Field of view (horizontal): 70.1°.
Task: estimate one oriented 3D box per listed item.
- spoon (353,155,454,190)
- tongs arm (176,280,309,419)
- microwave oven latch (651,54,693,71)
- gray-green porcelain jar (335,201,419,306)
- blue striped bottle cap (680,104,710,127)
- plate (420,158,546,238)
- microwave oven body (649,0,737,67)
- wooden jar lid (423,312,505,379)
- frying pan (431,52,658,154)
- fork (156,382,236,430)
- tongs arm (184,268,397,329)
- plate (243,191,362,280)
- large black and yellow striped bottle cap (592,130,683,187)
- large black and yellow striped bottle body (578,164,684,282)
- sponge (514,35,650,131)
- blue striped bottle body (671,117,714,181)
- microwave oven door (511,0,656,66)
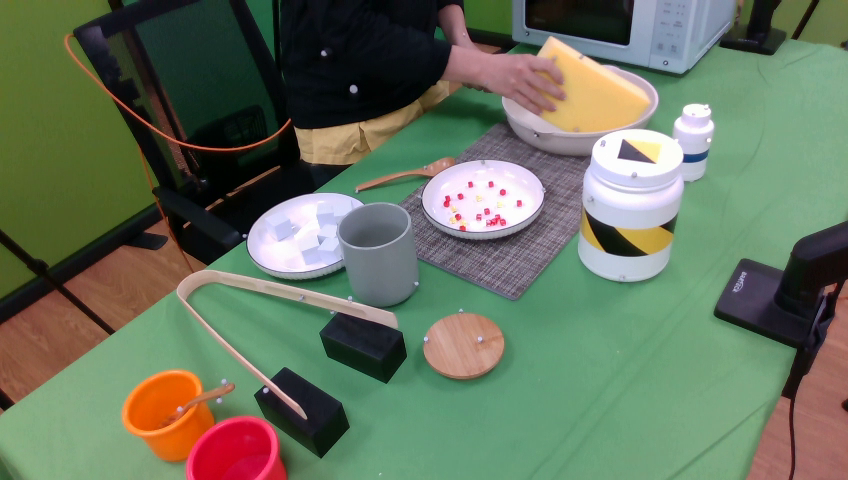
[{"bbox_3d":[-0.038,-0.123,1.116,0.194,0.022,0.041,-12,58,-4],"label":"spoon"},{"bbox_3d":[-0.254,0.133,0.801,0.028,0.028,0.384,-41,41,-23],"label":"tongs arm"},{"bbox_3d":[0.531,-0.386,1.301,0.078,0.029,0.030,26,51,33],"label":"microwave oven latch"},{"bbox_3d":[-0.064,0.024,0.872,0.106,0.127,0.105,-4,41,4],"label":"gray-green porcelain jar"},{"bbox_3d":[0.443,-0.205,0.989,0.044,0.021,0.044,-1,41,2],"label":"blue striped bottle cap"},{"bbox_3d":[0.099,-0.067,1.017,0.209,0.038,0.208,-4,40,4],"label":"plate"},{"bbox_3d":[0.475,-0.602,1.411,0.438,0.261,0.327,23,50,32],"label":"microwave oven body"},{"bbox_3d":[0.053,0.142,0.800,0.108,0.021,0.108,-5,39,4],"label":"wooden jar lid"},{"bbox_3d":[0.216,-0.302,1.223,0.484,0.103,0.308,29,49,24],"label":"frying pan"},{"bbox_3d":[-0.262,0.189,0.690,0.018,0.206,0.028,49,43,-7],"label":"fork"},{"bbox_3d":[-0.202,0.084,0.848,0.382,0.027,0.051,11,45,35],"label":"tongs arm"},{"bbox_3d":[-0.188,-0.005,0.992,0.207,0.039,0.206,-4,41,4],"label":"plate"},{"bbox_3d":[0.282,-0.111,0.803,0.115,0.019,0.114,-3,41,3],"label":"large black and yellow striped bottle cap"},{"bbox_3d":[0.292,-0.046,0.859,0.131,0.185,0.130,-4,41,4],"label":"large black and yellow striped bottle body"},{"bbox_3d":[0.280,-0.259,1.084,0.208,0.118,0.060,27,32,-11],"label":"sponge"},{"bbox_3d":[0.449,-0.165,1.022,0.063,0.121,0.063,-5,41,4],"label":"blue striped bottle body"},{"bbox_3d":[0.351,-0.540,1.349,0.353,0.245,0.039,24,50,31],"label":"microwave oven door"}]
